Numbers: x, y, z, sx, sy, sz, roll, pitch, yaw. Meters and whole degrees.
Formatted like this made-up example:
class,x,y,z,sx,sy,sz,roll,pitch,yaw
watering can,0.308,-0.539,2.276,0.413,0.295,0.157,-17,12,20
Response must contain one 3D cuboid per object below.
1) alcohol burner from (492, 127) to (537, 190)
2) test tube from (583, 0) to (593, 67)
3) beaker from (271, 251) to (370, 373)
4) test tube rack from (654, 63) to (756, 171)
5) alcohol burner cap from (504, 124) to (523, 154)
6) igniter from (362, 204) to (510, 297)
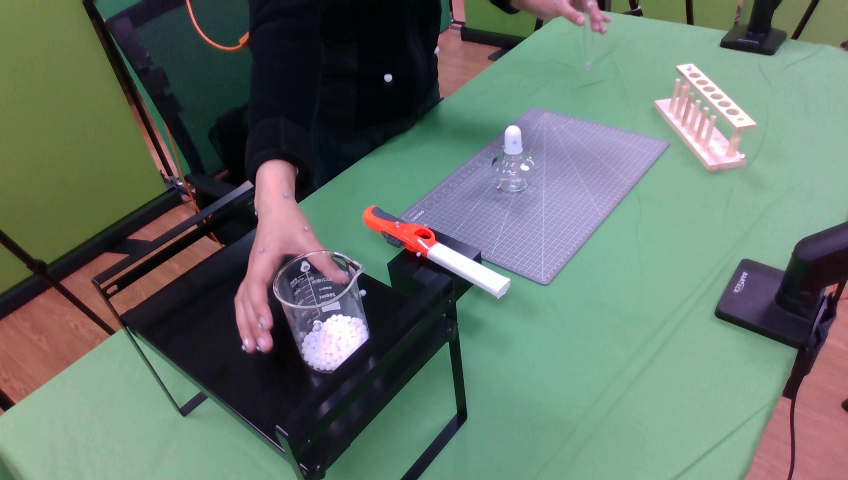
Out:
class,x,y,z,sx,sy,sz,roll,pitch,yaw
alcohol burner,0.156,-0.146,1.046,0.078,0.119,0.077,-4,44,4
test tube,0.283,-0.371,1.043,0.017,0.151,0.017,-7,39,6
beaker,-0.090,0.070,0.571,0.084,0.101,0.073,-19,42,-13
test tube rack,0.510,-0.233,1.120,0.067,0.085,0.241,-8,41,-1
alcohol burner cap,0.151,-0.173,1.023,0.034,0.048,0.033,-6,38,5
igniter,0.007,0.009,0.887,0.274,0.025,0.057,29,50,32
